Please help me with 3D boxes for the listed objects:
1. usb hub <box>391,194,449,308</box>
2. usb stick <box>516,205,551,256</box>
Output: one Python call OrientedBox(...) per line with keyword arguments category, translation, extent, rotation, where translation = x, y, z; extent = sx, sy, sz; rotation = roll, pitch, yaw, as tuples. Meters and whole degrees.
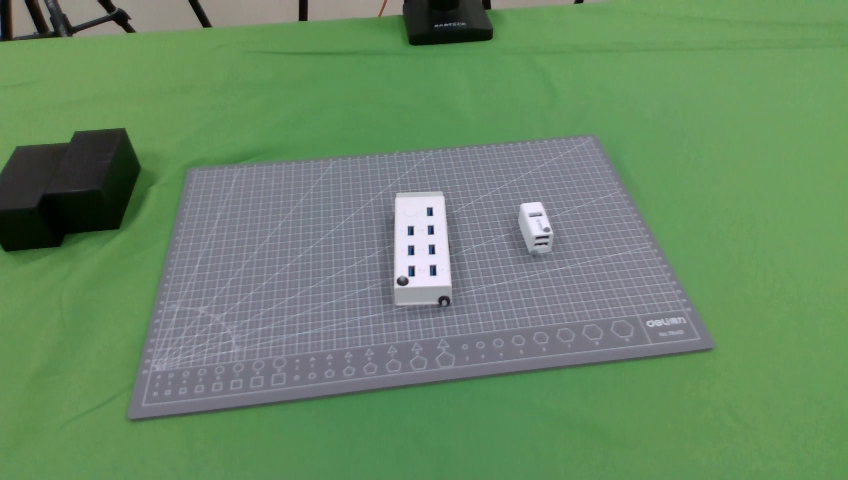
OrientedBox(category="usb hub", translation=(-0.005, 0.007, 0.548), extent=(0.049, 0.025, 0.124), rotation=(-2, 44, -1))
OrientedBox(category="usb stick", translation=(0.100, -0.014, 0.567), extent=(0.021, 0.027, 0.058), rotation=(-6, 42, -4))
